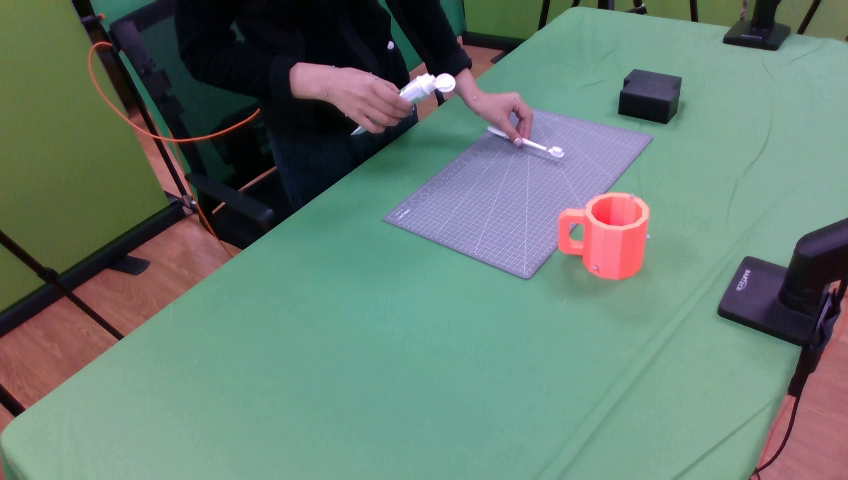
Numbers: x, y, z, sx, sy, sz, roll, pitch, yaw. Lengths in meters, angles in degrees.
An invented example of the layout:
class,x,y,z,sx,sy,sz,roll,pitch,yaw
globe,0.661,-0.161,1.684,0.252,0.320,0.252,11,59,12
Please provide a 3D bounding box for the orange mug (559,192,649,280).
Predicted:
class,x,y,z,sx,sy,sz,roll,pitch,yaw
orange mug,0.261,-0.008,0.884,0.126,0.101,0.083,9,43,14

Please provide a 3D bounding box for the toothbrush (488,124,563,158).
class,x,y,z,sx,sy,sz,roll,pitch,yaw
toothbrush,0.190,-0.193,1.157,0.180,0.017,0.014,31,72,37

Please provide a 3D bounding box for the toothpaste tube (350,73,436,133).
class,x,y,z,sx,sy,sz,roll,pitch,yaw
toothpaste tube,-0.050,-0.224,1.000,0.164,0.034,0.055,-30,-1,17

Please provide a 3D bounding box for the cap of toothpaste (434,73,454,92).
class,x,y,z,sx,sy,sz,roll,pitch,yaw
cap of toothpaste,0.032,-0.261,0.995,0.037,0.011,0.037,0,66,0
